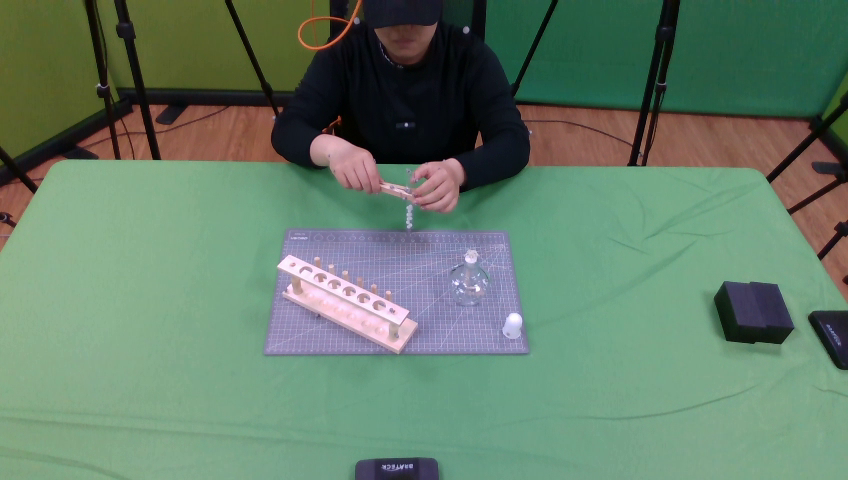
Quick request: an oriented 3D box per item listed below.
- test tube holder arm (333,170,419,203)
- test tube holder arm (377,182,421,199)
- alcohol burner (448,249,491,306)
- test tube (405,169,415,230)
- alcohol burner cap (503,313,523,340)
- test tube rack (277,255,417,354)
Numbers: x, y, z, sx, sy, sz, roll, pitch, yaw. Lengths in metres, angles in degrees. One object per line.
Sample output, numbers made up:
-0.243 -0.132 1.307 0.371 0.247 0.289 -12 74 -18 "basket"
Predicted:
-0.093 -0.103 1.154 0.178 0.015 0.013 17 42 12 "test tube holder arm"
-0.048 -0.095 1.151 0.088 0.015 0.010 12 42 6 "test tube holder arm"
0.081 0.062 1.078 0.078 0.120 0.077 1 45 -1 "alcohol burner"
-0.028 -0.074 1.157 0.017 0.151 0.017 2 47 -2 "test tube"
0.155 0.147 1.051 0.034 0.048 0.033 1 45 -1 "alcohol burner cap"
-0.131 0.099 1.045 0.241 0.085 0.066 23 49 17 "test tube rack"
